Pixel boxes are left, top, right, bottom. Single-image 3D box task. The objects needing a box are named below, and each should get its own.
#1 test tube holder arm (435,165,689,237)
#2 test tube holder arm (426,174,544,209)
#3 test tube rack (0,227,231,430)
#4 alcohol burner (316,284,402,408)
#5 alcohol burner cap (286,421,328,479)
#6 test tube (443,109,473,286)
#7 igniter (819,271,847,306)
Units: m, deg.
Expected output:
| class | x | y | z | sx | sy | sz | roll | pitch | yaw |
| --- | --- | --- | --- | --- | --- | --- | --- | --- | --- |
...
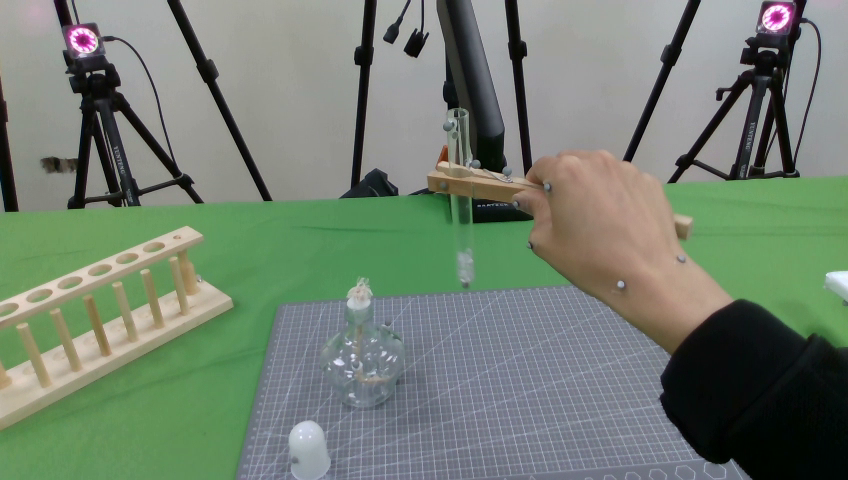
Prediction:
| class | x | y | z | sx | sy | sz | roll | pitch | yaw |
| --- | --- | --- | --- | --- | --- | --- | --- | --- | --- |
| test tube holder arm | 0.084 | -0.029 | 0.404 | 0.177 | 0.015 | 0.013 | 15 | 44 | 30 |
| test tube holder arm | 0.042 | -0.034 | 0.421 | 0.087 | 0.015 | 0.010 | 9 | 42 | 24 |
| test tube rack | -0.326 | 0.078 | 0.613 | 0.066 | 0.086 | 0.242 | 23 | 38 | 36 |
| alcohol burner | -0.059 | 0.091 | 0.545 | 0.078 | 0.120 | 0.077 | -1 | 28 | 1 |
| alcohol burner cap | -0.096 | 0.167 | 0.487 | 0.034 | 0.048 | 0.033 | -1 | 30 | 1 |
| test tube | 0.026 | -0.025 | 0.447 | 0.017 | 0.151 | 0.017 | -4 | 37 | 3 |
| igniter | 0.436 | 0.100 | 0.507 | 0.057 | 0.025 | 0.274 | -4 | 27 | -3 |
